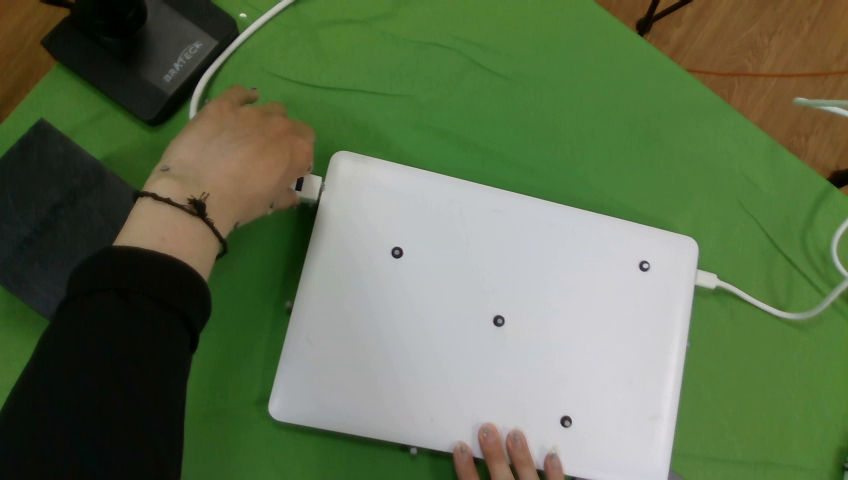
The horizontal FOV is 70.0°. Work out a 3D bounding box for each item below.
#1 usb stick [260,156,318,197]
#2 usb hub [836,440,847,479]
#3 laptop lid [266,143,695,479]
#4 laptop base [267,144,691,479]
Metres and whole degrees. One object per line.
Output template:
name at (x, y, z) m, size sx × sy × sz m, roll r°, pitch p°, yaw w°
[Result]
usb stick at (-0.108, -0.052, 0.515) m, size 0.059 × 0.027 × 0.021 m, roll 15°, pitch 82°, yaw -14°
usb hub at (0.413, 0.258, 0.571) m, size 0.049 × 0.025 × 0.124 m, roll 20°, pitch 77°, yaw -5°
laptop lid at (0.063, 0.066, 0.530) m, size 0.357 × 0.013 × 0.241 m, roll 15°, pitch 81°, yaw -7°
laptop base at (0.061, 0.065, 0.542) m, size 0.355 × 0.023 × 0.235 m, roll 13°, pitch 82°, yaw -8°
